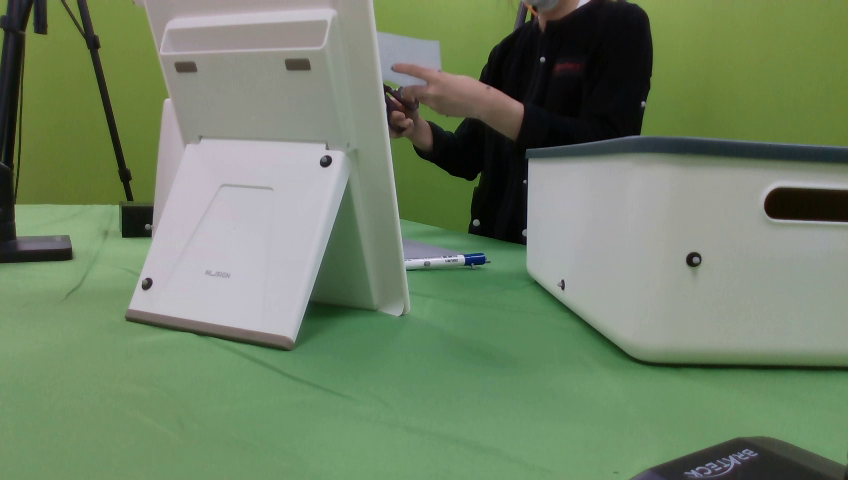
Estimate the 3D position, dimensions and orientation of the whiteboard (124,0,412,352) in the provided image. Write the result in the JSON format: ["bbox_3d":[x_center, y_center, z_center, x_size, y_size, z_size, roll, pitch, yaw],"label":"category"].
[{"bbox_3d":[-0.151,-0.049,0.472,0.216,0.305,0.144,6,27,24],"label":"whiteboard"}]

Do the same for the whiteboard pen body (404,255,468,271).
[{"bbox_3d":[0.013,0.030,0.792,0.141,0.017,0.017,-3,9,-24],"label":"whiteboard pen body"}]

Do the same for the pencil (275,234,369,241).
[{"bbox_3d":[-0.169,-0.006,1.036,0.195,0.012,0.012,-2,9,-45],"label":"pencil"}]

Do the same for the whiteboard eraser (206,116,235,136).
[{"bbox_3d":[-0.450,-0.252,1.335,0.056,0.042,0.112,1,7,-22],"label":"whiteboard eraser"}]

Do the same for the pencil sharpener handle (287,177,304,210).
[{"bbox_3d":[-0.269,-0.096,1.257,0.036,0.067,0.030,-8,8,-27],"label":"pencil sharpener handle"}]

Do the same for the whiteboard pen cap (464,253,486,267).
[{"bbox_3d":[0.066,0.027,0.818,0.033,0.018,0.018,-5,10,-24],"label":"whiteboard pen cap"}]

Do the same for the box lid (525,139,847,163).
[{"bbox_3d":[0.261,-0.078,0.580,0.264,0.015,0.371,2,7,-4],"label":"box lid"}]

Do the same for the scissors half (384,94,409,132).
[{"bbox_3d":[-0.074,-0.254,1.069,0.012,0.040,0.176,22,-22,40],"label":"scissors half"}]

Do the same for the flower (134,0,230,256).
[{"bbox_3d":[-0.282,-0.147,0.713,0.038,0.362,0.044,-23,24,-31],"label":"flower"}]

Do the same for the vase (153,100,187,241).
[{"bbox_3d":[-0.278,-0.066,0.736,0.098,0.200,0.098,2,9,0],"label":"vase"}]

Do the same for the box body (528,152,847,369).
[{"bbox_3d":[0.258,-0.005,0.591,0.254,0.160,0.363,2,7,-4],"label":"box body"}]

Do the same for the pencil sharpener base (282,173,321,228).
[{"bbox_3d":[-0.247,-0.080,1.212,0.061,0.107,0.076,-2,5,-28],"label":"pencil sharpener base"}]

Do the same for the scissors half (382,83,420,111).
[{"bbox_3d":[-0.064,-0.273,1.073,0.013,0.040,0.176,16,1,39],"label":"scissors half"}]
